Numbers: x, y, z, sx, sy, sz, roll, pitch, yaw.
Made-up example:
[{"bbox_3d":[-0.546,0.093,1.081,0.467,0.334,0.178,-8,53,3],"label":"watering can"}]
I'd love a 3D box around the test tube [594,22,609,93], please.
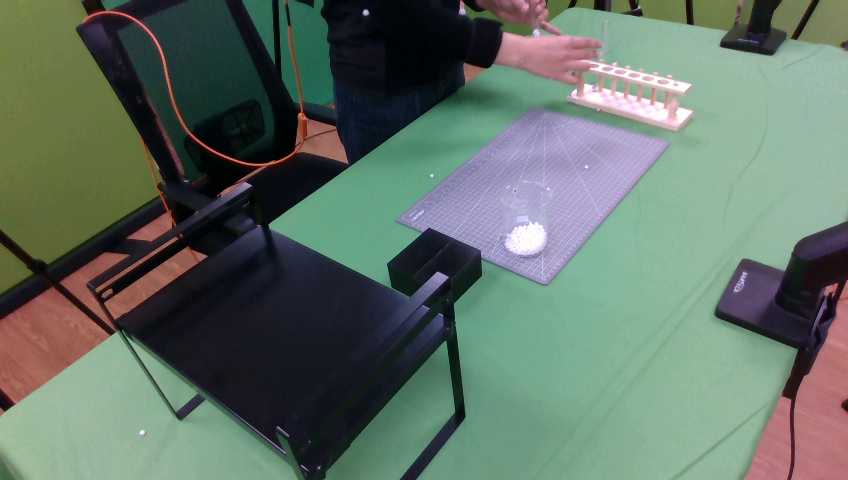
[{"bbox_3d":[0.363,-0.371,1.238,0.017,0.151,0.017,-4,41,4],"label":"test tube"}]

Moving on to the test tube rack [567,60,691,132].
[{"bbox_3d":[0.411,-0.300,1.217,0.240,0.085,0.067,26,51,33],"label":"test tube rack"}]

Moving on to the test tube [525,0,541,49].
[{"bbox_3d":[0.210,-0.439,1.179,0.017,0.151,0.017,-11,49,13],"label":"test tube"}]

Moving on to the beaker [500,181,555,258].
[{"bbox_3d":[0.158,-0.030,0.923,0.084,0.100,0.073,-13,41,-8],"label":"beaker"}]
